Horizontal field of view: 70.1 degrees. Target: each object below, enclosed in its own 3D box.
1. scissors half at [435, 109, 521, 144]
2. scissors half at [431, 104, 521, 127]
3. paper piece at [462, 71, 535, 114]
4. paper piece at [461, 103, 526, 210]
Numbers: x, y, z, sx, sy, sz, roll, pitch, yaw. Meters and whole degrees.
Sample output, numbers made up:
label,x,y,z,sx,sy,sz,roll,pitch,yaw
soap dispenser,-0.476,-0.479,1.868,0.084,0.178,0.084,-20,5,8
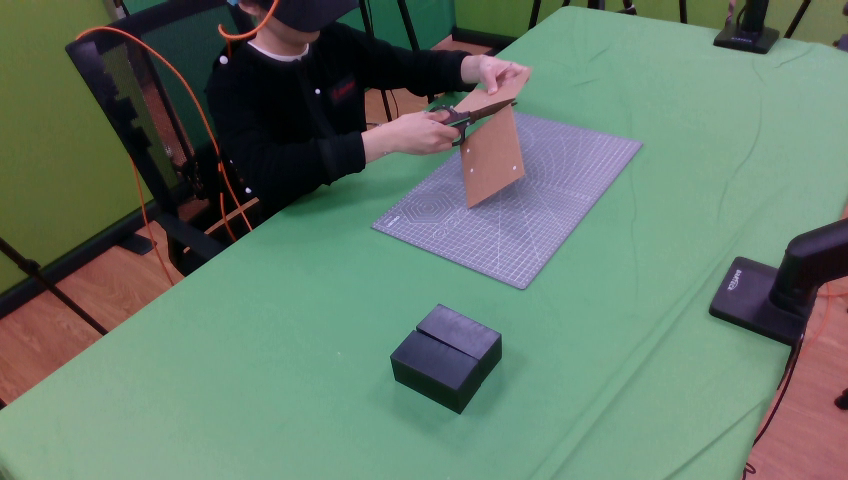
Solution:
label,x,y,z,sx,sy,sz,roll,pitch,yaw
scissors half,0.092,-0.200,1.047,0.174,0.040,0.013,-12,24,39
scissors half,0.086,-0.217,1.040,0.174,0.040,0.013,4,28,32
paper piece,0.122,-0.255,1.083,0.134,0.004,0.136,-14,28,40
paper piece,0.112,-0.138,1.018,0.009,0.135,0.137,8,63,-33
